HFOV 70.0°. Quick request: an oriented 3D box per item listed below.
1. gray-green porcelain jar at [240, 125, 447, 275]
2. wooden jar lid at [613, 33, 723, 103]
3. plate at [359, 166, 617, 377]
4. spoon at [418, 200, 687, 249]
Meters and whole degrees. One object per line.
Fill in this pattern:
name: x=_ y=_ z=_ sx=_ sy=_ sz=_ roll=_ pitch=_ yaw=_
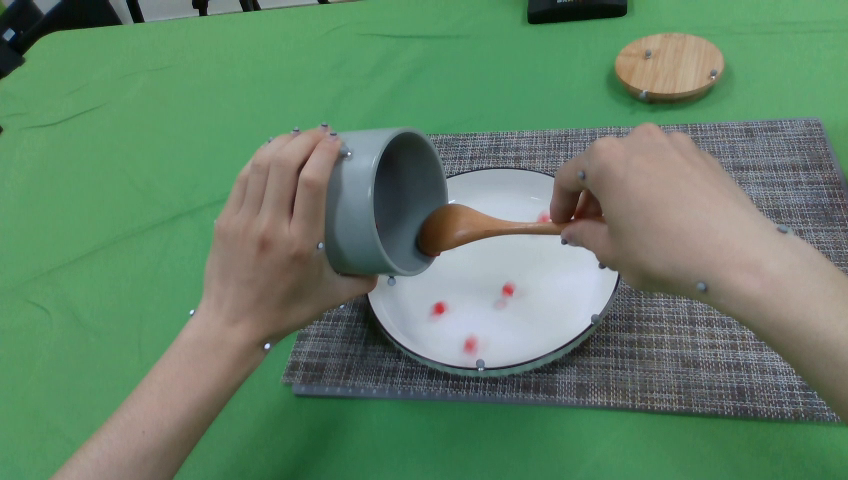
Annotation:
gray-green porcelain jar: x=-0.062 y=-0.029 z=0.452 sx=0.126 sy=0.107 sz=0.105 roll=2 pitch=51 yaw=29
wooden jar lid: x=0.257 y=-0.182 z=0.642 sx=0.108 sy=0.021 sz=0.107 roll=-6 pitch=51 yaw=8
plate: x=0.051 y=0.024 z=0.502 sx=0.207 sy=0.039 sz=0.205 roll=-7 pitch=50 yaw=8
spoon: x=0.073 y=-0.012 z=0.404 sx=0.192 sy=0.022 sz=0.041 roll=1 pitch=55 yaw=33
